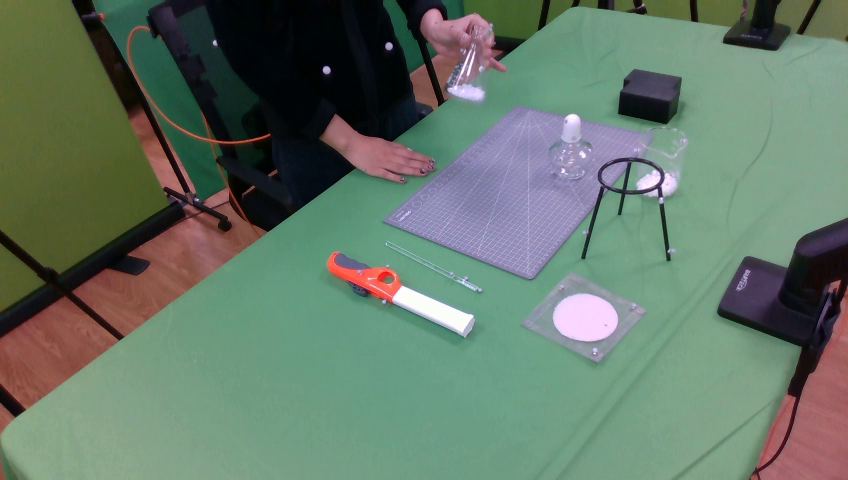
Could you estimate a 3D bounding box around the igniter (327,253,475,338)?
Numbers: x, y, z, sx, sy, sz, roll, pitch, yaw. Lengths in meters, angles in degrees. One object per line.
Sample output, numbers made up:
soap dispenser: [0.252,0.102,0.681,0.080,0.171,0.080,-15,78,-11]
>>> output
igniter: [-0.045,0.077,0.898,0.274,0.025,0.057,22,60,32]

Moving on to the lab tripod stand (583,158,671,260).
lab tripod stand: [0.300,-0.046,0.895,0.148,0.132,0.147,-7,38,6]

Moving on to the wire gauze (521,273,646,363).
wire gauze: [0.219,0.105,0.830,0.120,0.011,0.125,28,54,37]

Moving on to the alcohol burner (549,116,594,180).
alcohol burner: [0.258,-0.166,1.055,0.078,0.120,0.077,-6,42,6]

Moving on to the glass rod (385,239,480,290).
glass rod: [0.009,0.037,0.950,0.198,0.008,0.008,26,52,35]

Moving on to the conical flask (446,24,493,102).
conical flask: [0.085,-0.304,1.038,0.075,0.122,0.075,11,23,-4]

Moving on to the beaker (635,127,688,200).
beaker: [0.388,-0.122,0.994,0.074,0.101,0.083,-8,40,2]

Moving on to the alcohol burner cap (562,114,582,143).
alcohol burner cap: [0.254,-0.192,1.030,0.034,0.048,0.033,-4,50,6]
